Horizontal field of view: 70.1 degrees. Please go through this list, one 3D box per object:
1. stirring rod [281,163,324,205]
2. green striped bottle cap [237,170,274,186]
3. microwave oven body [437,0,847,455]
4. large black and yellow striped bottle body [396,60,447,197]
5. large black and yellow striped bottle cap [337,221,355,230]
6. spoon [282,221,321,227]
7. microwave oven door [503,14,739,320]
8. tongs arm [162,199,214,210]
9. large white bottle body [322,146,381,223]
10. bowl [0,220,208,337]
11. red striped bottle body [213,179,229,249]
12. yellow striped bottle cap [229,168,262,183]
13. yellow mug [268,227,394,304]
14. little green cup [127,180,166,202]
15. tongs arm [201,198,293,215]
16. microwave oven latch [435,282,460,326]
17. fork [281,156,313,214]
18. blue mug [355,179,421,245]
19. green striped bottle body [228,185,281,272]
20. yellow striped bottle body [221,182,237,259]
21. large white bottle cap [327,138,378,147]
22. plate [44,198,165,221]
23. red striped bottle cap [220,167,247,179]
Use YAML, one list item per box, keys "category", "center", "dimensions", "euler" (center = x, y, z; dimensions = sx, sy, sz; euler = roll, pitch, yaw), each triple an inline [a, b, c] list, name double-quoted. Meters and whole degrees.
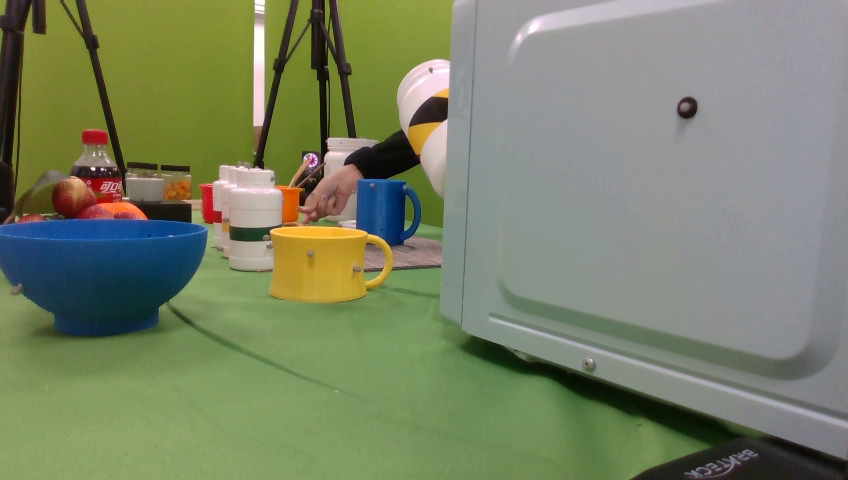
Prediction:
- category: "stirring rod"
  center: [-0.278, -0.105, 1.293]
  dimensions: [0.176, 0.006, 0.014]
  euler: [-47, 25, -18]
- category: "green striped bottle cap"
  center: [-0.205, -0.075, 0.737]
  dimensions: [0.044, 0.020, 0.044]
  euler: [1, 6, 0]
- category: "microwave oven body"
  center: [0.279, -0.040, 0.464]
  dimensions: [0.444, 0.260, 0.324]
  euler: [-3, 8, -41]
- category: "large black and yellow striped bottle body"
  center: [0.041, -0.160, 0.871]
  dimensions: [0.131, 0.130, 0.183]
  euler: [-2, 50, -32]
- category: "large black and yellow striped bottle cap"
  center: [-0.107, -0.022, 1.147]
  dimensions: [0.115, 0.019, 0.115]
  euler: [1, 8, 0]
- category: "spoon"
  center: [-0.226, -0.023, 1.086]
  dimensions: [0.042, 0.021, 0.193]
  euler: [-31, 22, -21]
- category: "microwave oven door"
  center: [0.217, -0.065, 0.600]
  dimensions: [0.358, 0.243, 0.039]
  euler: [-4, 10, -41]
- category: "tongs arm"
  center: [-0.504, -0.091, 1.513]
  dimensions: [0.028, 0.028, 0.389]
  euler: [0, 4, 37]
- category: "large white bottle body"
  center: [-0.164, -0.135, 1.369]
  dimensions: [0.131, 0.184, 0.130]
  euler: [2, 8, 0]
- category: "bowl"
  center: [-0.251, 0.029, 0.479]
  dimensions: [0.151, 0.077, 0.151]
  euler: [2, 7, 0]
- category: "red striped bottle body"
  center: [-0.283, -0.047, 0.908]
  dimensions: [0.063, 0.119, 0.063]
  euler: [2, 8, 0]
- category: "yellow striped bottle cap"
  center: [-0.240, -0.087, 0.816]
  dimensions: [0.044, 0.018, 0.044]
  euler: [-2, 5, 1]
- category: "yellow mug"
  center: [-0.094, 0.023, 0.629]
  dimensions: [0.131, 0.064, 0.099]
  euler: [0, 7, -22]
- category: "little green cup"
  center: [-0.486, -0.087, 1.062]
  dimensions: [0.061, 0.038, 0.061]
  euler: [0, 7, 0]
- category: "tongs arm"
  center: [-0.423, -0.085, 1.472]
  dimensions: [0.050, 0.026, 0.386]
  euler: [2, 6, 21]
- category: "microwave oven latch"
  center: [0.044, 0.046, 0.470]
  dimensions: [0.079, 0.029, 0.030]
  euler: [-3, 8, -40]
- category: "fork"
  center: [-0.289, -0.116, 1.320]
  dimensions: [0.028, 0.019, 0.207]
  euler: [-2, 48, 27]
- category: "blue mug"
  center: [-0.058, -0.047, 1.005]
  dimensions: [0.116, 0.106, 0.082]
  euler: [6, 9, 23]
- category: "green striped bottle body"
  center: [-0.208, -0.023, 0.745]
  dimensions: [0.063, 0.119, 0.063]
  euler: [2, 7, 0]
- category: "yellow striped bottle body"
  center: [-0.244, -0.035, 0.823]
  dimensions: [0.063, 0.120, 0.063]
  euler: [2, 8, 0]
- category: "large white bottle cap"
  center: [-0.160, -0.218, 1.357]
  dimensions: [0.115, 0.018, 0.115]
  euler: [2, 8, 0]
- category: "plate"
  center: [-0.617, -0.056, 1.179]
  dimensions: [0.209, 0.038, 0.209]
  euler: [3, 7, 0]
- category: "red striped bottle cap"
  center: [-0.281, -0.100, 0.901]
  dimensions: [0.044, 0.017, 0.044]
  euler: [-1, 5, 0]
